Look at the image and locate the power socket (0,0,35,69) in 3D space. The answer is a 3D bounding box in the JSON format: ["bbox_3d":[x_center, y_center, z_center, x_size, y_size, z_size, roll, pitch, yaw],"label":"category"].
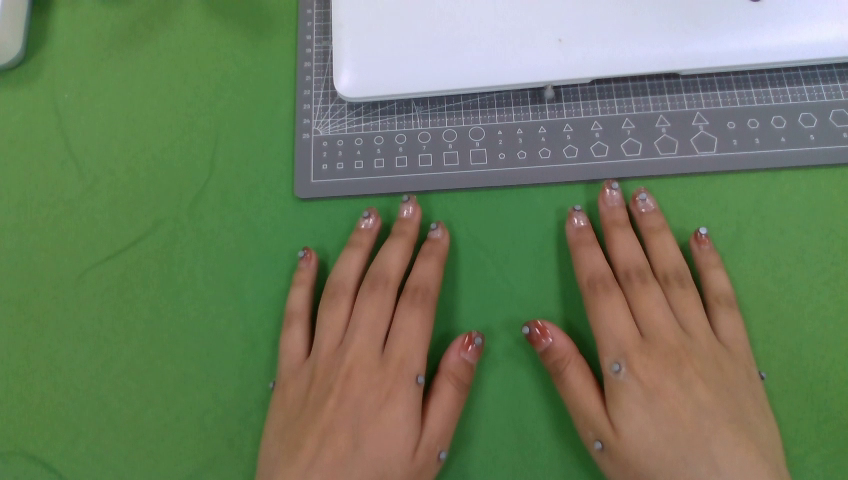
[{"bbox_3d":[-0.302,-0.209,0.412,0.072,0.033,0.225,-6,71,1],"label":"power socket"}]

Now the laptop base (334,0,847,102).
[{"bbox_3d":[0.116,-0.203,0.392,0.354,0.023,0.234,-4,74,2],"label":"laptop base"}]

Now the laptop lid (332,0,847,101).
[{"bbox_3d":[0.115,-0.205,0.380,0.357,0.013,0.240,-3,73,3],"label":"laptop lid"}]
